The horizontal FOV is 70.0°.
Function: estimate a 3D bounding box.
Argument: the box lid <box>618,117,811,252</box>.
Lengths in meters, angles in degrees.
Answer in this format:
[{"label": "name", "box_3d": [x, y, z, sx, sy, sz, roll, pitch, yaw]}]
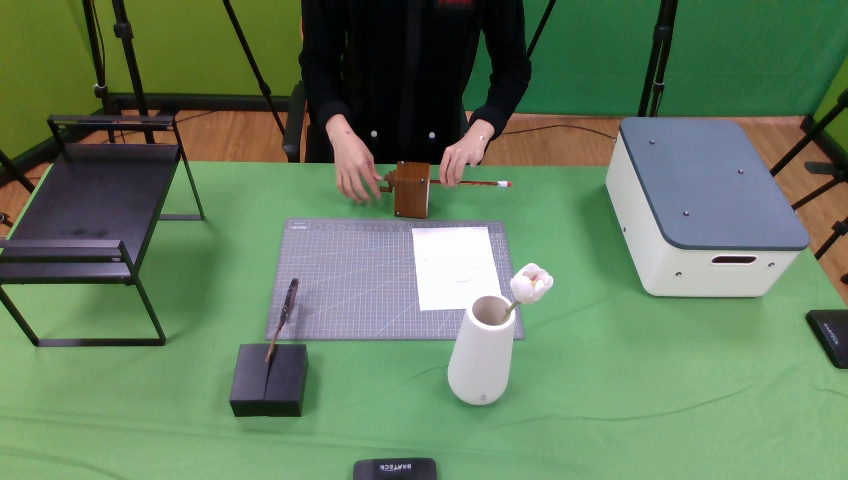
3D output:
[{"label": "box lid", "box_3d": [0.534, -0.117, 1.148, 0.263, 0.015, 0.369, 0, 47, -3]}]

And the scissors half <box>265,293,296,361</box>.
[{"label": "scissors half", "box_3d": [-0.239, 0.143, 1.005, 0.013, 0.040, 0.174, 17, 28, -6]}]

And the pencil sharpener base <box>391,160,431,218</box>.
[{"label": "pencil sharpener base", "box_3d": [-0.028, -0.103, 1.236, 0.077, 0.107, 0.061, 5, 46, 1]}]

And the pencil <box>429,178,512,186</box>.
[{"label": "pencil", "box_3d": [0.079, -0.117, 1.216, 0.194, 0.012, 0.012, 2, 46, 1]}]

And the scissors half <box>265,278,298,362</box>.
[{"label": "scissors half", "box_3d": [-0.234, 0.127, 0.993, 0.013, 0.040, 0.174, 12, 46, -3]}]

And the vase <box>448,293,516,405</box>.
[{"label": "vase", "box_3d": [0.091, 0.169, 0.921, 0.098, 0.201, 0.097, 3, 47, -3]}]

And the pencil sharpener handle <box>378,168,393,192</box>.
[{"label": "pencil sharpener handle", "box_3d": [-0.079, -0.119, 1.230, 0.030, 0.068, 0.036, 5, 61, 1]}]

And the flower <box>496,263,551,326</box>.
[{"label": "flower", "box_3d": [0.102, 0.120, 0.853, 0.044, 0.363, 0.038, -1, 64, -10]}]

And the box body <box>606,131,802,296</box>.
[{"label": "box body", "box_3d": [0.530, -0.067, 1.204, 0.254, 0.161, 0.361, 0, 46, -4]}]
